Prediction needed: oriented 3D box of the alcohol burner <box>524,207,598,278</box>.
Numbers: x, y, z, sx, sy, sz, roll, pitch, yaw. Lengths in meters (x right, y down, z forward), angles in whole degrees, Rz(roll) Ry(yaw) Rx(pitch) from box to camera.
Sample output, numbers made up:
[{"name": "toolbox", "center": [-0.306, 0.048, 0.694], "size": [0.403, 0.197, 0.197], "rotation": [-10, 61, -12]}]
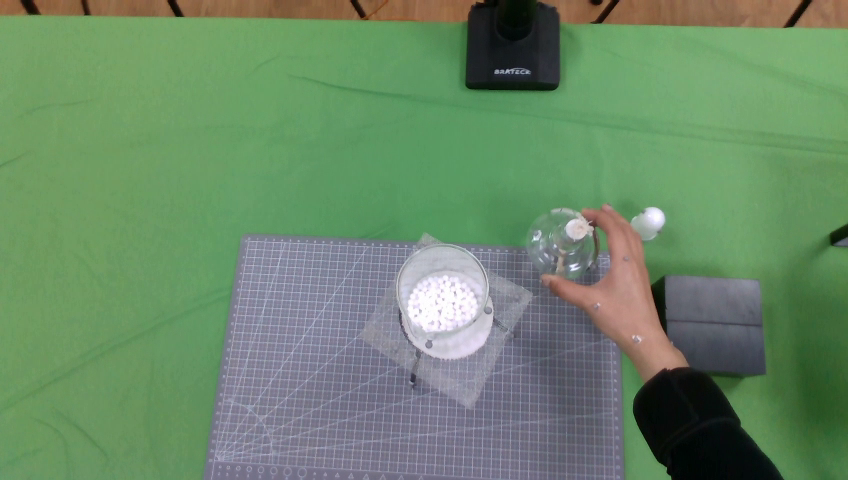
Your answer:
[{"name": "alcohol burner", "center": [0.145, -0.001, 0.627], "size": [0.078, 0.119, 0.077], "rotation": [0, 77, -1]}]

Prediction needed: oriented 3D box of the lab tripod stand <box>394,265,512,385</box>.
[{"name": "lab tripod stand", "center": [0.024, 0.084, 0.629], "size": [0.148, 0.132, 0.147], "rotation": [0, 72, 1]}]

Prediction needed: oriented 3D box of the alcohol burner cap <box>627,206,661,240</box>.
[{"name": "alcohol burner cap", "center": [0.257, -0.021, 0.702], "size": [0.034, 0.048, 0.033], "rotation": [-1, 72, 4]}]

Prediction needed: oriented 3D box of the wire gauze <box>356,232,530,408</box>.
[{"name": "wire gauze", "center": [0.018, 0.070, 0.565], "size": [0.125, 0.011, 0.121], "rotation": [31, 78, 8]}]

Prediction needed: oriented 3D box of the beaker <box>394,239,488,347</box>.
[{"name": "beaker", "center": [0.013, 0.053, 0.519], "size": [0.074, 0.101, 0.083], "rotation": [27, 75, 10]}]
